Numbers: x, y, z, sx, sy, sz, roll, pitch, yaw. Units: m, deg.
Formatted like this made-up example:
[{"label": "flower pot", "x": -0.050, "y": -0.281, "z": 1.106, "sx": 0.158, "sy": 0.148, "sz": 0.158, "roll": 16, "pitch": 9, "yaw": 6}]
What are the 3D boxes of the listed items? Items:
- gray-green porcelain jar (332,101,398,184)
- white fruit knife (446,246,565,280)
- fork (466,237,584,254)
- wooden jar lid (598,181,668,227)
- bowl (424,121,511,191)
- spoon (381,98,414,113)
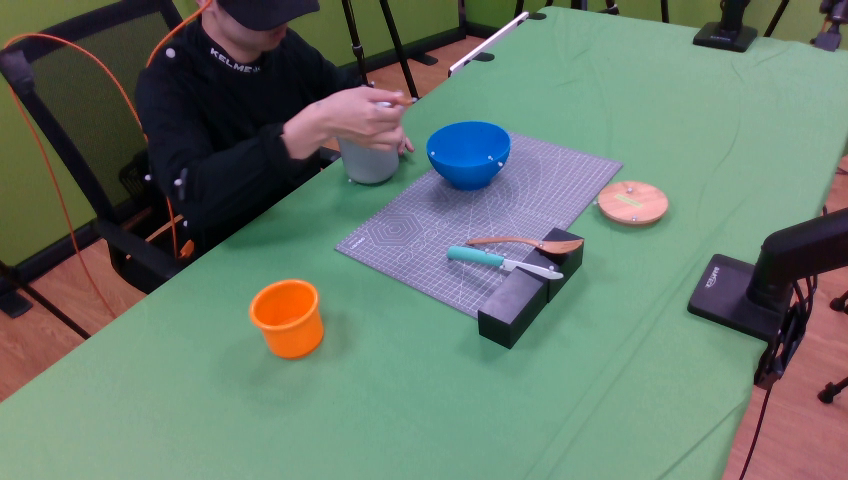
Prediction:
[{"label": "gray-green porcelain jar", "x": -0.105, "y": -0.174, "z": 1.108, "sx": 0.106, "sy": 0.127, "sz": 0.105, "roll": -4, "pitch": 40, "yaw": 4}, {"label": "white fruit knife", "x": 0.111, "y": 0.033, "z": 0.868, "sx": 0.205, "sy": 0.027, "sz": 0.016, "roll": 11, "pitch": 44, "yaw": 40}, {"label": "fork", "x": 0.142, "y": 0.005, "z": 0.894, "sx": 0.205, "sy": 0.019, "sz": 0.028, "roll": 4, "pitch": 43, "yaw": 41}, {"label": "wooden jar lid", "x": 0.340, "y": -0.058, "z": 0.988, "sx": 0.108, "sy": 0.021, "sz": 0.108, "roll": -5, "pitch": 41, "yaw": 5}, {"label": "bowl", "x": 0.080, "y": -0.141, "z": 1.074, "sx": 0.151, "sy": 0.077, "sz": 0.150, "roll": -4, "pitch": 40, "yaw": 4}, {"label": "spoon", "x": -0.040, "y": -0.216, "z": 0.960, "sx": 0.042, "sy": 0.021, "sz": 0.193, "roll": -15, "pitch": 10, "yaw": -8}]
